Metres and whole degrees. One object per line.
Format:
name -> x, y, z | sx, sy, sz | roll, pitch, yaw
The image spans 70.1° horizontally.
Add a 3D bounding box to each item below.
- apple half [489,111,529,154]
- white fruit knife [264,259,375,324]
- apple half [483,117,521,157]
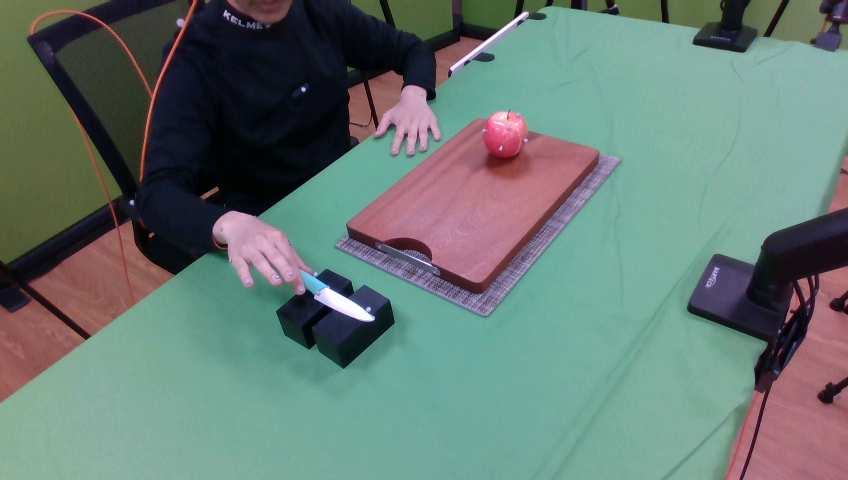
apple half -> 0.156, -0.197, 1.092 | 0.080, 0.075, 0.053 | 21, 44, 34
white fruit knife -> -0.147, 0.070, 0.840 | 0.206, 0.016, 0.027 | 24, 79, 29
apple half -> 0.131, -0.175, 1.069 | 0.080, 0.081, 0.033 | 24, 48, 32
